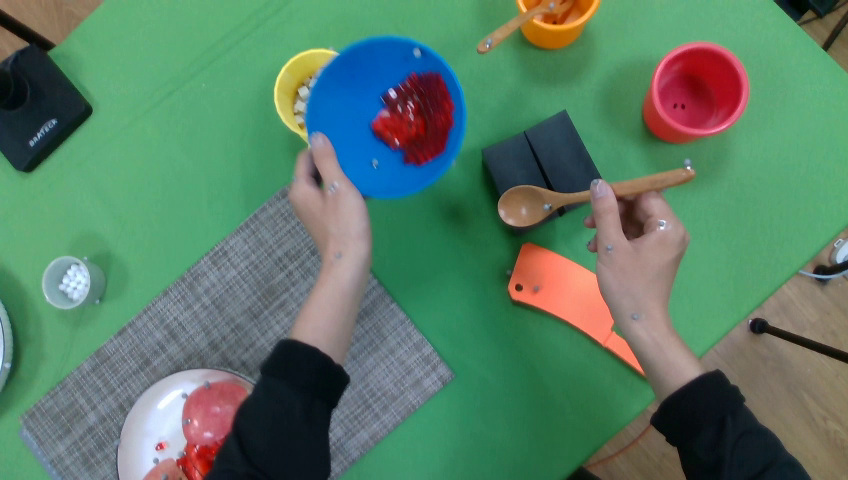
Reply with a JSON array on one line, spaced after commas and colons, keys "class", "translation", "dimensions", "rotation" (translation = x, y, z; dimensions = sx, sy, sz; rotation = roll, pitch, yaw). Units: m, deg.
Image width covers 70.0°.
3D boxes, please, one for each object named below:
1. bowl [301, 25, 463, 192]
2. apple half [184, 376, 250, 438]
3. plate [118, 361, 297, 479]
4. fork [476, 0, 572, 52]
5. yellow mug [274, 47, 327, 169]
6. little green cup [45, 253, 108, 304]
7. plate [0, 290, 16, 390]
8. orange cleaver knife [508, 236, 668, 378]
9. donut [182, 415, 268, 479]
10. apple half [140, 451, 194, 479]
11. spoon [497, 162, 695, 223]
[{"class": "bowl", "translation": [-0.034, -0.119, 0.585], "dimensions": [0.151, 0.077, 0.151], "rotation": [0, 92, 6]}, {"class": "apple half", "translation": [-0.235, 0.178, 0.677], "dimensions": [0.081, 0.033, 0.080], "rotation": [-9, 46, 10]}, {"class": "plate", "translation": [-0.246, 0.242, 0.701], "dimensions": [0.209, 0.038, 0.209], "rotation": [0, 87, 6]}, {"class": "fork", "translation": [0.110, -0.236, 0.637], "dimensions": [0.028, 0.019, 0.207], "rotation": [42, 48, 6]}, {"class": "yellow mug", "translation": [-0.116, -0.146, 0.697], "dimensions": [0.100, 0.064, 0.130], "rotation": [6, 89, 5]}, {"class": "little green cup", "translation": [-0.416, 0.046, 0.730], "dimensions": [0.061, 0.039, 0.061], "rotation": [0, 87, 6]}, {"class": "plate", "translation": [-0.593, 0.125, 0.743], "dimensions": [0.207, 0.039, 0.207], "rotation": [0, 87, 6]}, {"class": "orange cleaver knife", "translation": [0.188, 0.073, 0.679], "dimensions": [0.210, 0.012, 0.077], "rotation": [34, 83, 9]}, {"class": "donut", "translation": [-0.226, 0.244, 0.688], "dimensions": [0.099, 0.048, 0.099], "rotation": [0, 92, 5]}, {"class": "apple half", "translation": [-0.287, 0.285, 0.671], "dimensions": [0.080, 0.053, 0.075], "rotation": [53, 133, 7]}, {"class": "spoon", "translation": [0.144, -0.043, 0.540], "dimensions": [0.022, 0.193, 0.042], "rotation": [-24, 101, -40]}]
